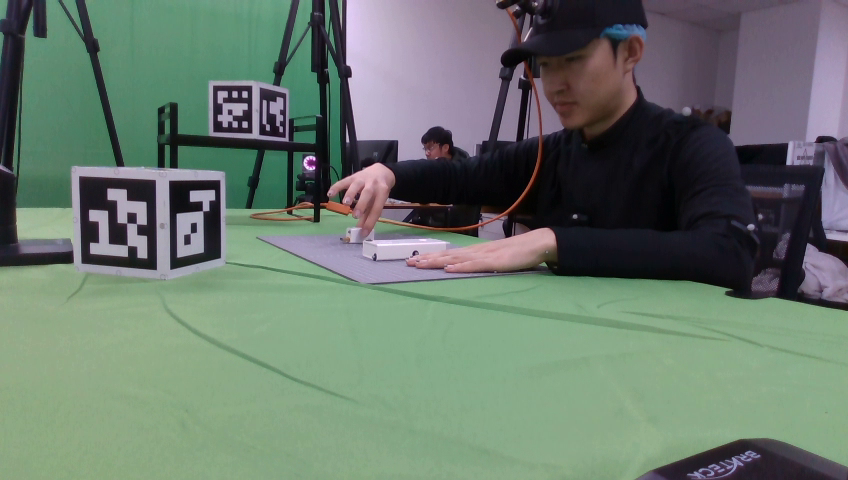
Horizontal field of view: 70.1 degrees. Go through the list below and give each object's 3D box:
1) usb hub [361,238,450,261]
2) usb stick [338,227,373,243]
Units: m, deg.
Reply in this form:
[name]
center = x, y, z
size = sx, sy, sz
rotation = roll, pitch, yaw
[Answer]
[usb hub]
center = -0.026, 0.013, 0.894
size = 0.126, 0.025, 0.049
rotation = -1, 8, -31
[usb stick]
center = -0.117, -0.009, 1.030
size = 0.059, 0.027, 0.021
rotation = -5, 11, -31
